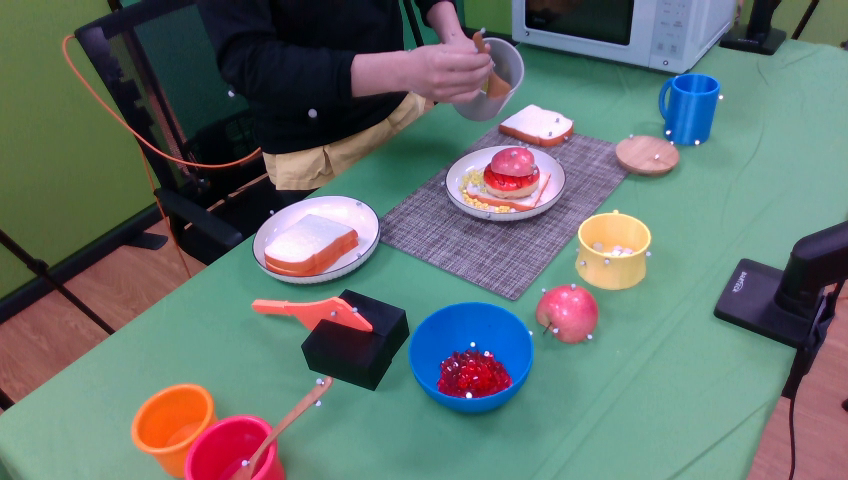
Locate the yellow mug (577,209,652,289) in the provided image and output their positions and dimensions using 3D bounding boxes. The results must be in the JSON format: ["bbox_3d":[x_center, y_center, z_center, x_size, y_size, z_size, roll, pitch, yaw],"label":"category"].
[{"bbox_3d":[0.279,0.004,0.893,0.099,0.064,0.130,5,42,14],"label":"yellow mug"}]

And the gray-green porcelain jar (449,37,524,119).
[{"bbox_3d":[0.105,-0.278,1.063,0.106,0.126,0.105,2,80,-11],"label":"gray-green porcelain jar"}]

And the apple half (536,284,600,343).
[{"bbox_3d":[0.196,0.091,0.815,0.075,0.053,0.080,-22,42,-20],"label":"apple half"}]

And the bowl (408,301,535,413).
[{"bbox_3d":[0.060,0.156,0.739,0.151,0.077,0.150,-4,40,4],"label":"bowl"}]

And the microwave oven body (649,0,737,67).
[{"bbox_3d":[0.475,-0.602,1.411,0.438,0.261,0.327,23,50,32],"label":"microwave oven body"}]

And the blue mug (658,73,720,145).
[{"bbox_3d":[0.483,-0.250,1.127,0.082,0.106,0.115,-26,44,-19],"label":"blue mug"}]

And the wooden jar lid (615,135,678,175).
[{"bbox_3d":[0.398,-0.151,1.086,0.108,0.021,0.108,-1,42,2],"label":"wooden jar lid"}]

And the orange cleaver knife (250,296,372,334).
[{"bbox_3d":[-0.159,0.103,0.828,0.210,0.078,0.012,-4,43,39],"label":"orange cleaver knife"}]

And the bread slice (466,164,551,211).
[{"bbox_3d":[0.141,-0.091,1.044,0.134,0.018,0.107,11,44,17],"label":"bread slice"}]

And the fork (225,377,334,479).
[{"bbox_3d":[-0.163,0.216,0.646,0.207,0.019,0.028,-49,42,16],"label":"fork"}]

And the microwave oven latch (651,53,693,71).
[{"bbox_3d":[0.532,-0.387,1.301,0.078,0.029,0.030,27,52,34],"label":"microwave oven latch"}]

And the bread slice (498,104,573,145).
[{"bbox_3d":[0.231,-0.231,1.205,0.105,0.019,0.130,-36,47,-29],"label":"bread slice"}]

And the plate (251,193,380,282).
[{"bbox_3d":[-0.174,-0.001,0.984,0.209,0.038,0.208,-4,41,4],"label":"plate"}]

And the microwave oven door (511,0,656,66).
[{"bbox_3d":[0.351,-0.540,1.349,0.353,0.245,0.039,24,50,31],"label":"microwave oven door"}]

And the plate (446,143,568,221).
[{"bbox_3d":[0.142,-0.097,1.045,0.207,0.039,0.206,-4,40,4],"label":"plate"}]

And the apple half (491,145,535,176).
[{"bbox_3d":[0.147,-0.138,0.994,0.081,0.033,0.081,1,37,0],"label":"apple half"}]

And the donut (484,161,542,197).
[{"bbox_3d":[0.149,-0.110,1.016,0.099,0.048,0.098,-4,40,4],"label":"donut"}]

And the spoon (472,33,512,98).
[{"bbox_3d":[0.094,-0.248,0.873,0.041,0.195,0.021,-19,71,14],"label":"spoon"}]
